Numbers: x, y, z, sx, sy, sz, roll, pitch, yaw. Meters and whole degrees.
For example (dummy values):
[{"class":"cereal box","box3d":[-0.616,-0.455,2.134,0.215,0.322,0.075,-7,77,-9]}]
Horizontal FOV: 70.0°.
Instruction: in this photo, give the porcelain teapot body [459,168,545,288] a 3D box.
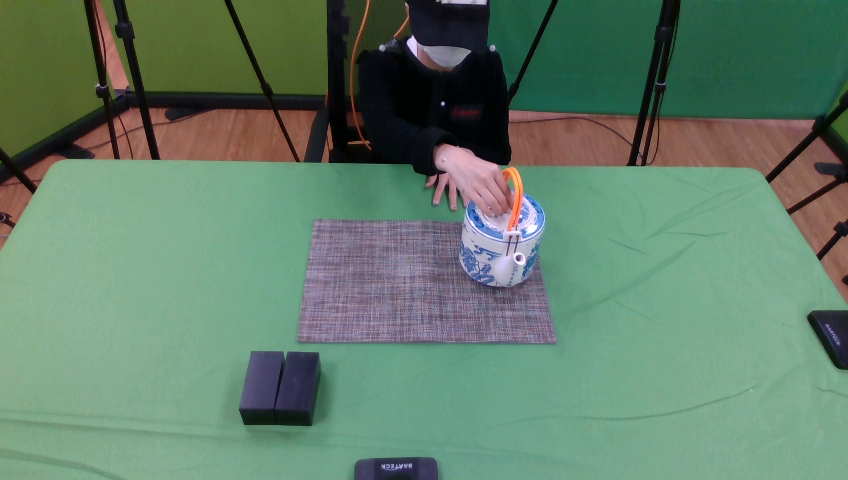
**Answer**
[{"class":"porcelain teapot body","box3d":[0.146,-0.006,1.070,0.145,0.226,0.204,-4,46,-8]}]

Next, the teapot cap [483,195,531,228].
[{"class":"teapot cap","box3d":[0.146,-0.054,1.061,0.085,0.044,0.084,3,44,-3]}]
